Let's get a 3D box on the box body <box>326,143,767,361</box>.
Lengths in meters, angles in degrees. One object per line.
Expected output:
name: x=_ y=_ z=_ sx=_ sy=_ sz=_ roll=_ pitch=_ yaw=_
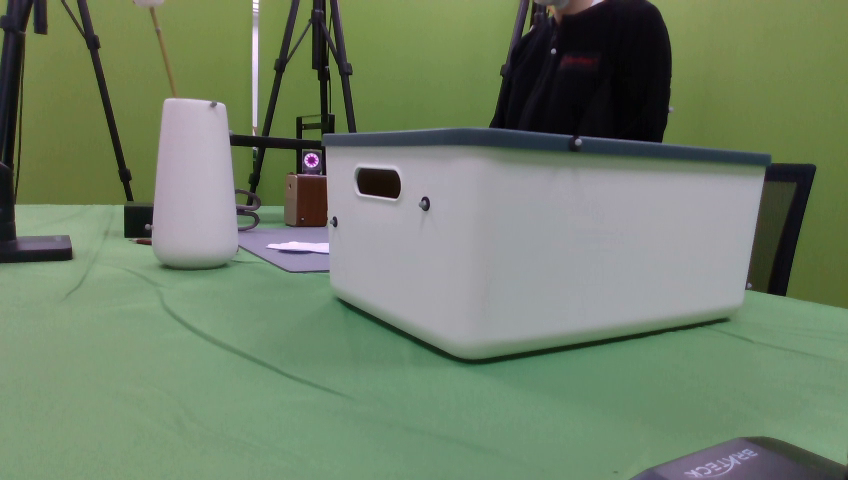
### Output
box body: x=0.111 y=-0.011 z=0.584 sx=0.366 sy=0.160 sz=0.253 roll=-2 pitch=9 yaw=-33

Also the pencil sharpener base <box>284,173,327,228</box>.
pencil sharpener base: x=-0.239 y=-0.081 z=1.231 sx=0.077 sy=0.107 sz=0.061 roll=-2 pitch=8 yaw=-36

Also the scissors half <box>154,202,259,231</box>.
scissors half: x=-0.375 y=-0.046 z=1.051 sx=0.176 sy=0.040 sz=0.013 roll=13 pitch=-2 yaw=-28

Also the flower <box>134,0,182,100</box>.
flower: x=-0.282 y=-0.146 z=0.712 sx=0.038 sy=0.362 sz=0.044 roll=-23 pitch=24 yaw=-31

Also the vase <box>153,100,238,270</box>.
vase: x=-0.278 y=-0.066 z=0.736 sx=0.098 sy=0.200 sz=0.098 roll=2 pitch=9 yaw=0

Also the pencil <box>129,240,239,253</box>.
pencil: x=-0.350 y=0.008 z=0.874 sx=0.193 sy=0.012 sz=0.012 roll=4 pitch=7 yaw=19

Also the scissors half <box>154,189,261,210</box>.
scissors half: x=-0.373 y=-0.066 z=1.049 sx=0.176 sy=0.040 sz=0.012 roll=-6 pitch=12 yaw=-27

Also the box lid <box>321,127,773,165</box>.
box lid: x=0.113 y=-0.084 z=0.573 sx=0.373 sy=0.015 sz=0.262 roll=-2 pitch=8 yaw=-33

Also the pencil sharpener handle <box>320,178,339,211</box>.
pencil sharpener handle: x=-0.194 y=-0.095 z=1.256 sx=0.031 sy=0.067 sz=0.036 roll=-2 pitch=-6 yaw=-36
